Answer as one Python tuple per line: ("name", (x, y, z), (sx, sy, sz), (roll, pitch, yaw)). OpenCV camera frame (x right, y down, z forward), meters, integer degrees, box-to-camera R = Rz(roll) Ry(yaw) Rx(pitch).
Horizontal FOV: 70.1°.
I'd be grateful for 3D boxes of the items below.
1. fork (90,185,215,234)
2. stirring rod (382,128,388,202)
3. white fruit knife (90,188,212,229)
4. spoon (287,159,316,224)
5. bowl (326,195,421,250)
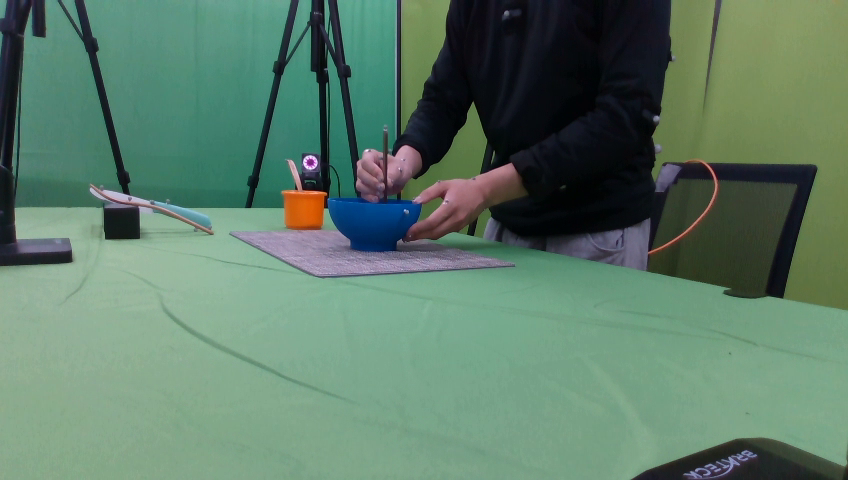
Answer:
("fork", (-0.452, -0.049, 1.018), (0.208, 0.018, 0.028), (21, -7, -33))
("stirring rod", (-0.061, -0.087, 0.932), (0.006, 0.176, 0.014), (-8, 30, -20))
("white fruit knife", (-0.478, -0.058, 1.073), (0.208, 0.027, 0.016), (17, -4, -30))
("spoon", (-0.261, -0.104, 1.263), (0.042, 0.193, 0.021), (0, -37, -28))
("bowl", (-0.080, -0.027, 0.958), (0.151, 0.077, 0.151), (2, 7, 0))
